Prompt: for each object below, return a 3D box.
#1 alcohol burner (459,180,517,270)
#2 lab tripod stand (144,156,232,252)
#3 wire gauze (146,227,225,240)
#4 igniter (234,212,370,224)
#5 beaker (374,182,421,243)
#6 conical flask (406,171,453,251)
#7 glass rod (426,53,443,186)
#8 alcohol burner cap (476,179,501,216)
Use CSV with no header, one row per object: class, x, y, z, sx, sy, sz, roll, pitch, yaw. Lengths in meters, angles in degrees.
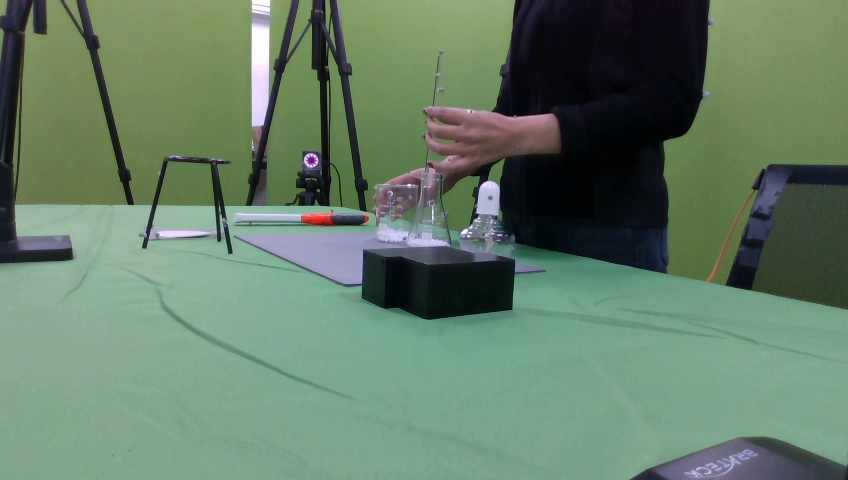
alcohol burner,0.086,-0.021,0.806,0.078,0.119,0.078,3,9,0
lab tripod stand,-0.325,-0.054,0.881,0.148,0.131,0.148,4,7,0
wire gauze,-0.400,-0.012,1.019,0.122,0.011,0.124,-1,6,-26
igniter,-0.247,-0.046,1.253,0.278,0.025,0.057,-1,-3,-27
beaker,-0.049,-0.048,1.031,0.083,0.100,0.074,5,7,24
conical flask,0.011,-0.046,0.948,0.075,0.122,0.075,2,8,0
glass rod,0.015,-0.177,0.905,0.008,0.199,0.008,5,21,-2
alcohol burner cap,0.086,-0.057,0.801,0.034,0.048,0.034,4,3,0
